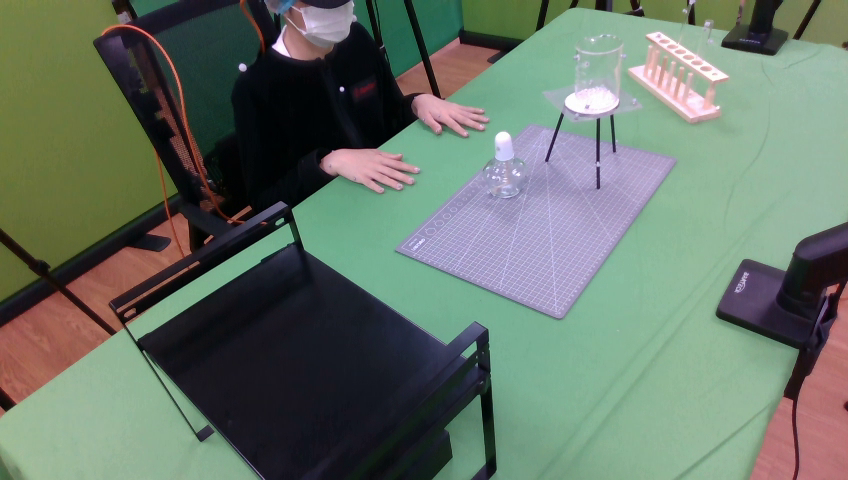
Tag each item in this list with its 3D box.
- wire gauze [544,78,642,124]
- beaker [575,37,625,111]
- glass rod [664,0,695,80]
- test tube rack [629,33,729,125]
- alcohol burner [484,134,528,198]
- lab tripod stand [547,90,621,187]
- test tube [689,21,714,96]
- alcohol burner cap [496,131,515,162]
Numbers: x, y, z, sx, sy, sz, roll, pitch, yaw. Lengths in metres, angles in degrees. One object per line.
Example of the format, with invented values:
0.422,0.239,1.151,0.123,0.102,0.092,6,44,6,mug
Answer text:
0.282,-0.234,1.022,0.125,0.011,0.120,-17,38,-4,wire gauze
0.283,-0.271,0.988,0.074,0.101,0.083,-10,39,1,beaker
0.523,-0.415,1.235,0.008,0.200,0.008,1,46,0,glass rod
0.516,-0.337,1.247,0.067,0.085,0.240,-14,41,-7,test tube rack
0.141,-0.133,1.041,0.078,0.119,0.077,-5,43,5,alcohol burner
0.289,-0.184,1.062,0.148,0.132,0.147,-6,41,6,lab tripod stand
0.541,-0.353,1.184,0.017,0.151,0.017,-2,40,2,test tube
0.135,-0.160,1.019,0.034,0.048,0.033,-8,37,6,alcohol burner cap
